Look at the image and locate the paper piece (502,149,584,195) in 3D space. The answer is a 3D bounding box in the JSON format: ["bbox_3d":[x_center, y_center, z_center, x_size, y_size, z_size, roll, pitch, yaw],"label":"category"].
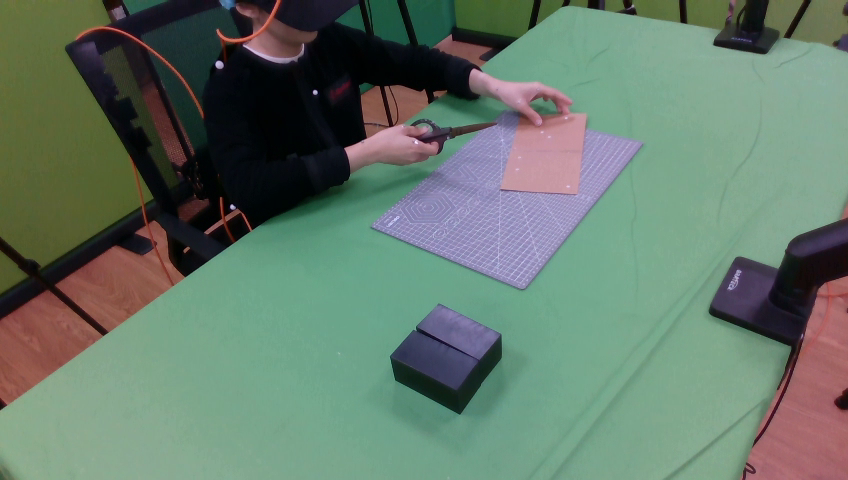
[{"bbox_3d":[0.219,-0.128,1.101,0.135,0.009,0.138,3,42,17],"label":"paper piece"}]

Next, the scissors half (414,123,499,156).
[{"bbox_3d":[0.059,-0.186,1.096,0.174,0.040,0.013,-14,32,32],"label":"scissors half"}]

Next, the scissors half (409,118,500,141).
[{"bbox_3d":[0.052,-0.202,1.087,0.174,0.040,0.013,1,33,23],"label":"scissors half"}]

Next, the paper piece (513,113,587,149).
[{"bbox_3d":[0.251,-0.215,1.196,0.135,0.004,0.135,3,44,17],"label":"paper piece"}]
